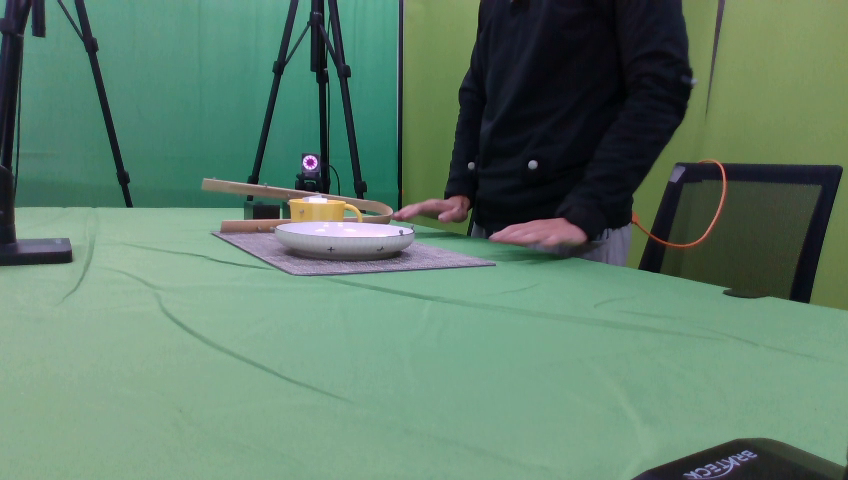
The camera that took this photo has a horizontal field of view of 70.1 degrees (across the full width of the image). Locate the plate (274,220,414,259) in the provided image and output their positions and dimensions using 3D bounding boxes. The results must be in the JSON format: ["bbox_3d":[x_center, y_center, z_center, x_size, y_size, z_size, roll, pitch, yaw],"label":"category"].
[{"bbox_3d":[-0.118,-0.001,0.902,0.208,0.039,0.207,3,7,0],"label":"plate"}]

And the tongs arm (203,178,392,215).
[{"bbox_3d":[-0.247,-0.083,1.239,0.387,0.026,0.050,4,30,-30],"label":"tongs arm"}]

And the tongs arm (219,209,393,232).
[{"bbox_3d":[-0.210,-0.037,1.182,0.390,0.028,0.028,-5,32,-41],"label":"tongs arm"}]

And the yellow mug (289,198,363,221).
[{"bbox_3d":[-0.174,-0.039,1.071,0.131,0.064,0.100,3,6,0],"label":"yellow mug"}]
